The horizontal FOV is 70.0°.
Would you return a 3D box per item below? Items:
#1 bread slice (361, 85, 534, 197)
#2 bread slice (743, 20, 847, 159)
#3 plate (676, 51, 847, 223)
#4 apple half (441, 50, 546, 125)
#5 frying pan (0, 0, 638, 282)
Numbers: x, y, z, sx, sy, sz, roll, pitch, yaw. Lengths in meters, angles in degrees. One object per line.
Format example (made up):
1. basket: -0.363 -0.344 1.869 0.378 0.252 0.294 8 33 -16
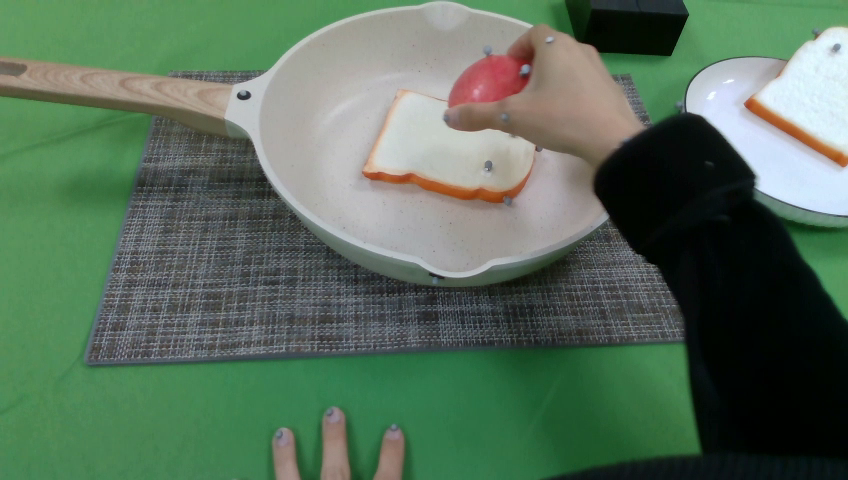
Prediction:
1. bread slice: 0.025 -0.083 0.515 0.134 0.018 0.106 11 53 4
2. bread slice: 0.385 -0.151 0.569 0.104 0.019 0.131 41 80 21
3. plate: 0.328 -0.092 0.546 0.208 0.039 0.205 3 53 -3
4. apple half: 0.050 -0.117 0.440 0.081 0.033 0.080 0 43 0
5. frying pan: -0.086 -0.098 0.467 0.489 0.103 0.304 8 51 -9
